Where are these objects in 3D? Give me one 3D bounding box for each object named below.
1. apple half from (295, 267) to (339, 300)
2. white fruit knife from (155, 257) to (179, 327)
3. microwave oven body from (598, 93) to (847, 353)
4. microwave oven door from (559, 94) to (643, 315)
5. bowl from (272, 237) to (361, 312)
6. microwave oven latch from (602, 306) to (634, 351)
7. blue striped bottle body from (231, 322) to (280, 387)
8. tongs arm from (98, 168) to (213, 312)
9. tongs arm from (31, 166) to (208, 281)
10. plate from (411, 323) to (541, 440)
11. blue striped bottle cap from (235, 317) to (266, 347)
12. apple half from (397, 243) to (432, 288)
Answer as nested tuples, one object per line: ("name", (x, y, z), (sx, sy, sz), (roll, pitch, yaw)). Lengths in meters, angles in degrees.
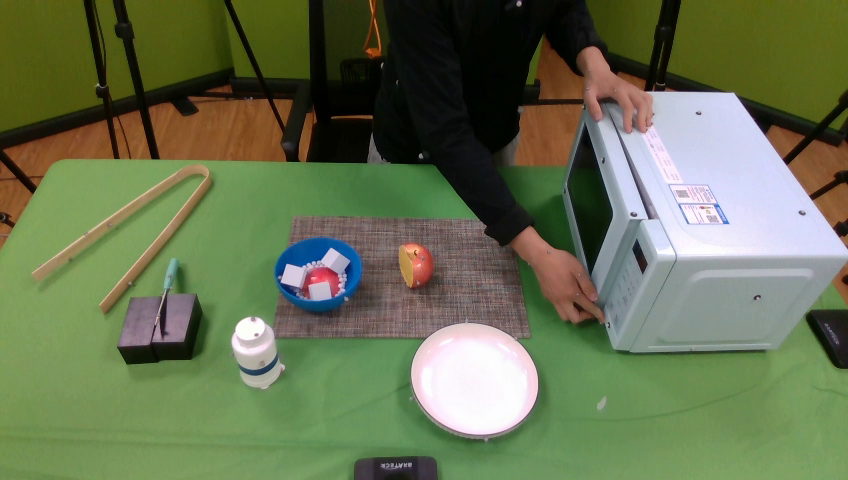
("apple half", (-0.187, 0.071, 1.067), (0.081, 0.033, 0.081), (4, 47, -4))
("white fruit knife", (-0.440, 0.085, 1.037), (0.016, 0.027, 0.206), (10, 26, -19))
("microwave oven body", (0.475, -0.042, 1.110), (0.326, 0.261, 0.438), (-1, 45, -4))
("microwave oven door", (0.317, -0.074, 1.123), (0.039, 0.245, 0.353), (2, 46, -2))
("bowl", (-0.187, 0.074, 1.070), (0.151, 0.077, 0.150), (3, 46, -3))
("microwave oven latch", (0.332, 0.153, 1.044), (0.030, 0.029, 0.078), (0, 45, -4))
("blue striped bottle body", (-0.262, 0.171, 0.944), (0.063, 0.121, 0.062), (2, 46, -2))
("tongs arm", (-0.504, -0.013, 1.167), (0.028, 0.028, 0.385), (11, 45, 11))
("tongs arm", (-0.578, -0.040, 1.185), (0.050, 0.026, 0.384), (23, 47, 18))
("plate", (0.082, 0.228, 0.976), (0.208, 0.039, 0.206), (2, 45, -2))
("blue striped bottle cap", (-0.260, 0.137, 0.907), (0.044, 0.021, 0.044), (2, 43, -2))
("apple half", (-0.013, 0.047, 1.115), (0.053, 0.075, 0.080), (-10, 43, -21))
